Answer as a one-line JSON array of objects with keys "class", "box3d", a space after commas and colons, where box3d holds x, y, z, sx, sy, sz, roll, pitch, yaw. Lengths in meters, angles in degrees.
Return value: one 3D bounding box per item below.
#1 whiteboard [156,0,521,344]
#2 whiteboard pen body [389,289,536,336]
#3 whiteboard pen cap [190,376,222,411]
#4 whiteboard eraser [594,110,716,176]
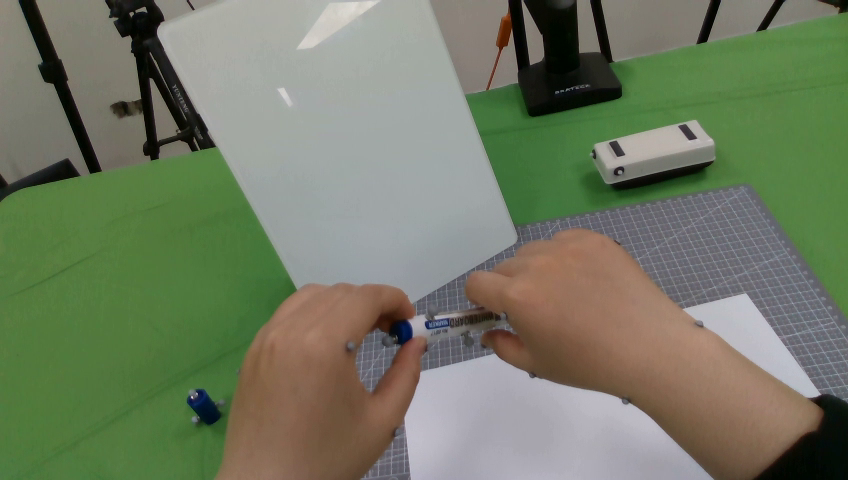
[{"class": "whiteboard", "box3d": [-0.075, -0.100, 0.587, 0.217, 0.307, 0.142, -29, 22, -13]}, {"class": "whiteboard pen body", "box3d": [0.032, 0.043, 0.387, 0.017, 0.017, 0.141, 27, 20, 39]}, {"class": "whiteboard pen cap", "box3d": [-0.189, 0.133, 0.525, 0.018, 0.033, 0.018, -7, 42, 7]}, {"class": "whiteboard eraser", "box3d": [0.240, -0.099, 0.636, 0.112, 0.042, 0.055, -12, 43, 4]}]
